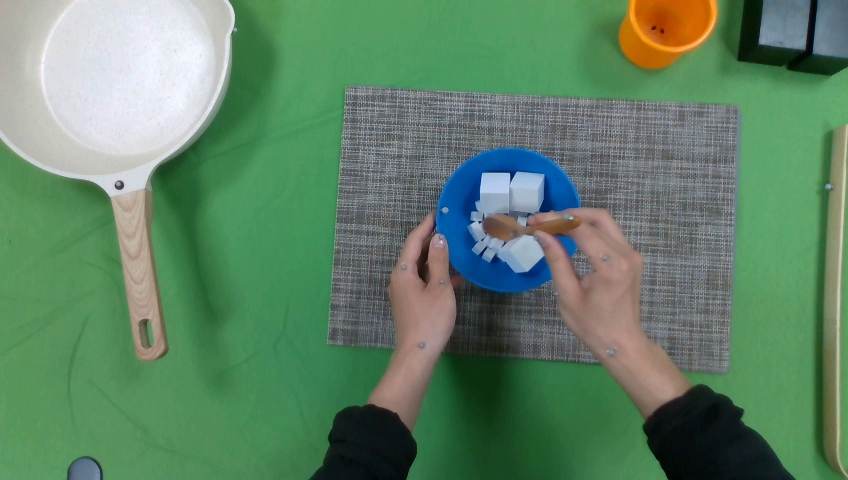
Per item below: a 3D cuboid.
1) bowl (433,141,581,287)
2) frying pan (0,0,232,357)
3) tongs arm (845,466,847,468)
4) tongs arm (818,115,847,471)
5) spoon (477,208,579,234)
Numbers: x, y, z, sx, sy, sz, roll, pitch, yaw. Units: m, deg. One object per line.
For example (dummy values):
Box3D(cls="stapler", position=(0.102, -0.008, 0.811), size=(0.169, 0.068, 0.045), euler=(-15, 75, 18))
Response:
Box3D(cls="bowl", position=(0.087, -0.025, 0.652), size=(0.151, 0.077, 0.151), euler=(0, 88, 3))
Box3D(cls="frying pan", position=(-0.333, -0.112, 0.666), size=(0.307, 0.103, 0.485), euler=(-13, 79, 3))
Box3D(cls="tongs arm", position=(0.532, 0.071, 0.655), size=(0.050, 0.026, 0.384), euler=(16, 89, 5))
Box3D(cls="tongs arm", position=(0.453, 0.056, 0.664), size=(0.028, 0.028, 0.387), euler=(3, 88, 1))
Box3D(cls="spoon", position=(0.093, -0.016, 0.559), size=(0.042, 0.193, 0.021), euler=(32, 85, -13))
